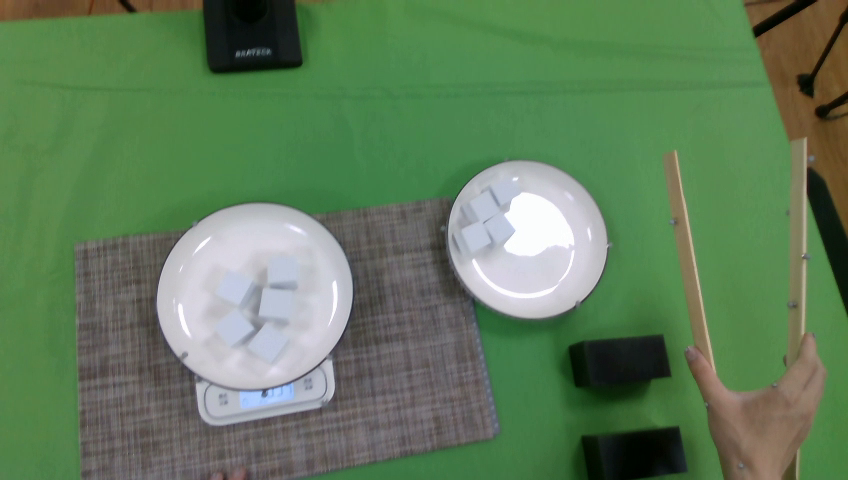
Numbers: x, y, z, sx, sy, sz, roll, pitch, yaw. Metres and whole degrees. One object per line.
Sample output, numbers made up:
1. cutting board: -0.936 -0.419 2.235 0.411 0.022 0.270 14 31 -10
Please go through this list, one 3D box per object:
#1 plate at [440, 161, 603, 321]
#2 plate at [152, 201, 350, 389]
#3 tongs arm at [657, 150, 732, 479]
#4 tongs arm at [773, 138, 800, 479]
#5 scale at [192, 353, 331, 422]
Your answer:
1. plate: 0.120 0.002 0.767 0.208 0.039 0.206 2 74 -7
2. plate: -0.187 0.059 0.671 0.209 0.038 0.208 2 74 -8
3. tongs arm: 0.284 0.098 0.615 0.028 0.027 0.387 -13 93 -8
4. tongs arm: 0.357 0.091 0.620 0.051 0.026 0.385 -2 93 -6
5. scale: -0.191 0.097 0.694 0.149 0.031 0.199 -7 75 -10
